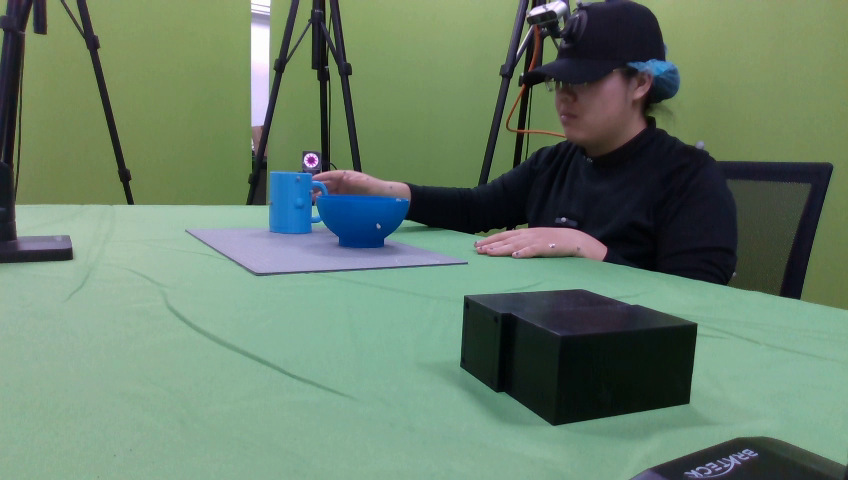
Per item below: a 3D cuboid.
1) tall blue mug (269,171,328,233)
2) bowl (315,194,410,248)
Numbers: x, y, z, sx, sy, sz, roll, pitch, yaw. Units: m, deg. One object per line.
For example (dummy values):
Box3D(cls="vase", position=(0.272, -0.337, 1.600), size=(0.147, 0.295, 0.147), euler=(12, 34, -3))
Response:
Box3D(cls="tall blue mug", position=(-0.236, -0.071, 1.118), size=(0.077, 0.108, 0.107), euler=(5, 8, 25))
Box3D(cls="bowl", position=(-0.099, -0.030, 0.971), size=(0.151, 0.077, 0.151), euler=(2, 7, 0))
